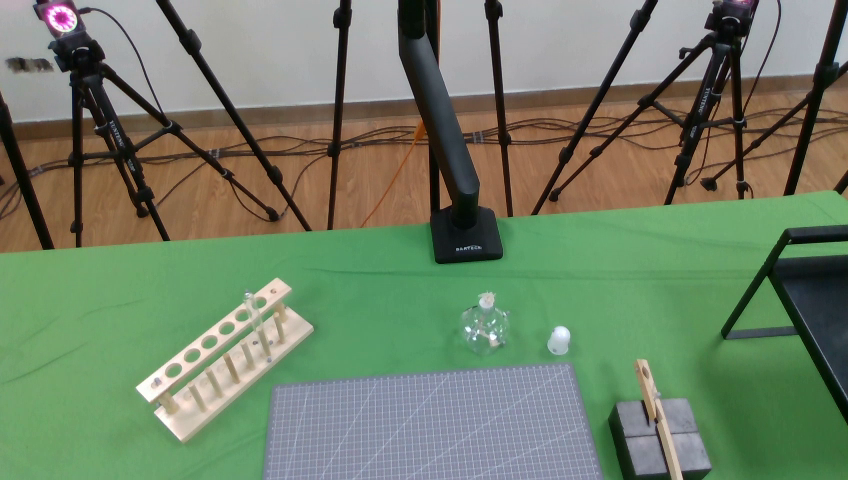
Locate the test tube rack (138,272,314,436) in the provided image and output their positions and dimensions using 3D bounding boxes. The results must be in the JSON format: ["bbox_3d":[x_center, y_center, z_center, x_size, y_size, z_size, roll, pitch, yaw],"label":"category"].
[{"bbox_3d":[-0.278,0.160,0.883,0.066,0.086,0.242,33,57,26],"label":"test tube rack"}]

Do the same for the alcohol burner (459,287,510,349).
[{"bbox_3d":[0.092,0.111,0.908,0.078,0.120,0.077,1,48,-1],"label":"alcohol burner"}]

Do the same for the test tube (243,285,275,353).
[{"bbox_3d":[-0.235,0.114,0.863,0.017,0.151,0.017,0,47,1],"label":"test tube"}]

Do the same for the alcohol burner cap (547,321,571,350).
[{"bbox_3d":[0.208,0.144,0.927,0.034,0.048,0.033,0,49,0],"label":"alcohol burner cap"}]

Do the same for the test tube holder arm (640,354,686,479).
[{"bbox_3d":[0.313,0.232,0.804,0.013,0.015,0.176,1,50,-9],"label":"test tube holder arm"}]

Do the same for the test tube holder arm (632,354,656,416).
[{"bbox_3d":[0.303,0.198,0.831,0.010,0.015,0.087,1,50,-8],"label":"test tube holder arm"}]
